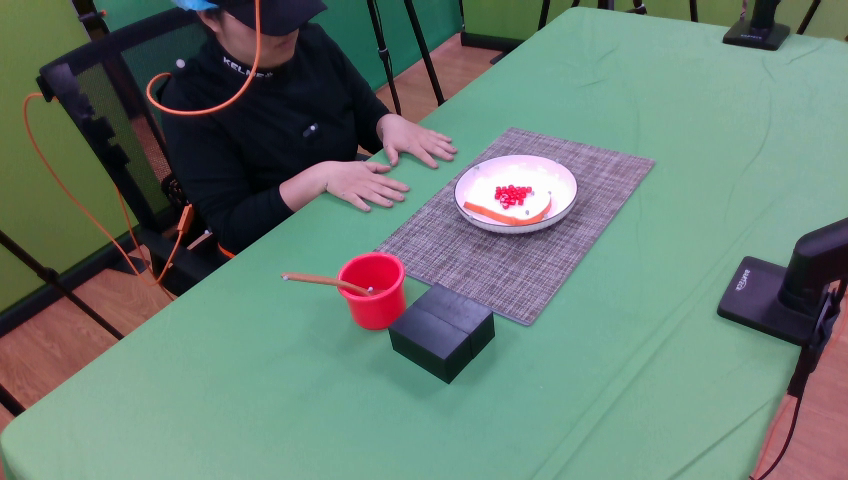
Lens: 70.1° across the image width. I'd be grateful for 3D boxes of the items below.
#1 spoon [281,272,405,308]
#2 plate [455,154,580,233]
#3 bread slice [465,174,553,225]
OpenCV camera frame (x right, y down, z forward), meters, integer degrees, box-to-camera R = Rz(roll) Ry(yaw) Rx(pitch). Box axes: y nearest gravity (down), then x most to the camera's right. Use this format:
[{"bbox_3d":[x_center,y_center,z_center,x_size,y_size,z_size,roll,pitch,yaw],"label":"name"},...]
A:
[{"bbox_3d":[-0.108,0.065,0.837,0.195,0.021,0.041,20,24,-37],"label":"spoon"},{"bbox_3d":[0.158,-0.076,1.028,0.209,0.038,0.208,-5,40,5],"label":"plate"},{"bbox_3d":[0.151,-0.067,1.022,0.130,0.019,0.105,22,50,33],"label":"bread slice"}]
